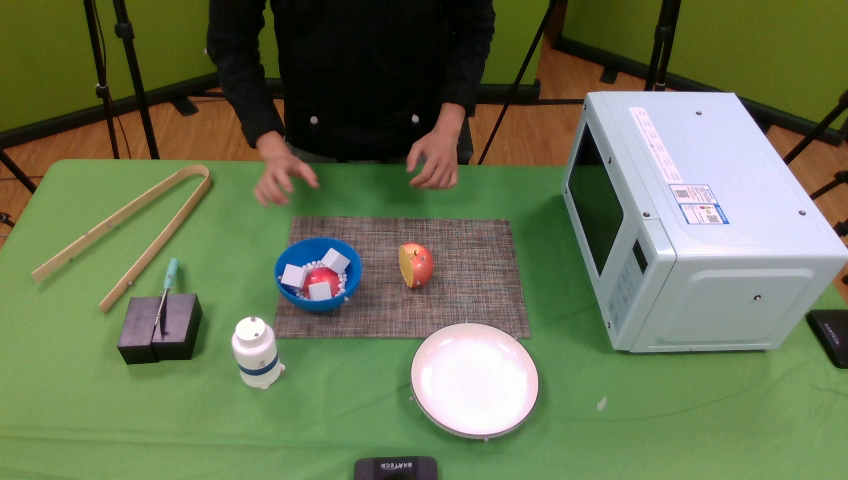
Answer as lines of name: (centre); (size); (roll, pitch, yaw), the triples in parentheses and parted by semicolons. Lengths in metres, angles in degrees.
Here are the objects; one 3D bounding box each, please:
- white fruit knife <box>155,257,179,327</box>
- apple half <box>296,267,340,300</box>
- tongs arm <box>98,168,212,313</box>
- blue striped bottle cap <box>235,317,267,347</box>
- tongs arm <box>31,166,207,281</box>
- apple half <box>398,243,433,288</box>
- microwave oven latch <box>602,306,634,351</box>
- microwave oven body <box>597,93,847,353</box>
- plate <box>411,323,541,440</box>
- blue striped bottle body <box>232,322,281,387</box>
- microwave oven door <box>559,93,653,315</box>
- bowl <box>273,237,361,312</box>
white fruit knife: (-0.440, 0.085, 1.037); (0.016, 0.027, 0.206); (10, 26, -19)
apple half: (-0.186, 0.071, 1.067); (0.081, 0.033, 0.081); (3, 45, -3)
tongs arm: (-0.504, -0.012, 1.167); (0.028, 0.028, 0.385); (11, 46, 11)
blue striped bottle cap: (-0.259, 0.137, 0.907); (0.044, 0.021, 0.044); (2, 43, -2)
tongs arm: (-0.578, -0.040, 1.184); (0.050, 0.026, 0.384); (23, 48, 17)
apple half: (-0.012, 0.046, 1.115); (0.053, 0.075, 0.080); (-11, 44, -19)
microwave oven latch: (0.332, 0.153, 1.044); (0.030, 0.029, 0.078); (-1, 45, -4)
microwave oven body: (0.475, -0.041, 1.109); (0.326, 0.261, 0.438); (-1, 45, -4)
plate: (0.082, 0.228, 0.976); (0.208, 0.039, 0.206); (2, 45, -2)
blue striped bottle body: (-0.262, 0.171, 0.944); (0.063, 0.121, 0.062); (2, 46, -2)
microwave oven door: (0.327, -0.074, 1.123); (0.039, 0.245, 0.353); (-1, 46, -5)
bowl: (-0.186, 0.074, 1.069); (0.151, 0.077, 0.150); (3, 46, -3)
